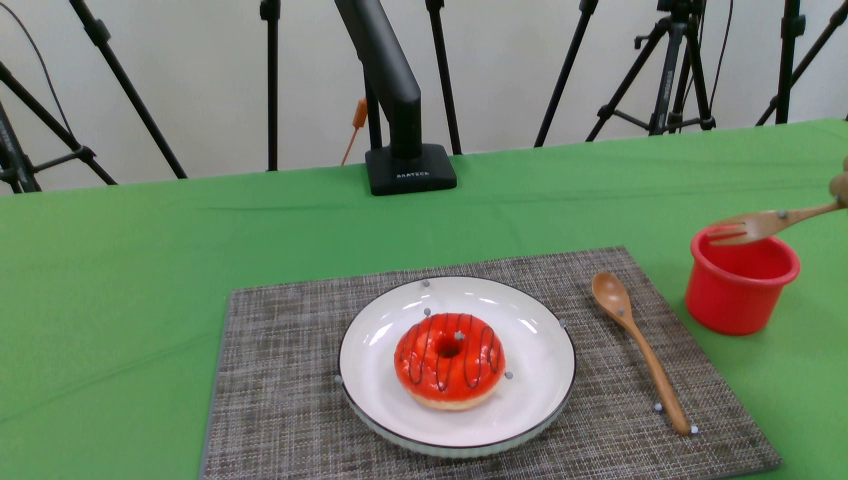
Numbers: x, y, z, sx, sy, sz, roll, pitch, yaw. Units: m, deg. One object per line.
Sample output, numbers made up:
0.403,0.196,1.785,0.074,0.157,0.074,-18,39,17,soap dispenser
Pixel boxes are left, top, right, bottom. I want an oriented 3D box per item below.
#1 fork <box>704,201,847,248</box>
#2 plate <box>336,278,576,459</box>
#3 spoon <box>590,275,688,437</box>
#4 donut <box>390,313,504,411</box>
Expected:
0.345,-0.025,0.506,0.207,0.019,0.028,-17,68,33,fork
0.028,0.111,0.540,0.209,0.038,0.207,0,34,1,plate
0.199,0.100,0.567,0.042,0.022,0.191,11,32,-15,spoon
0.020,0.106,0.529,0.099,0.048,0.098,-1,38,1,donut
